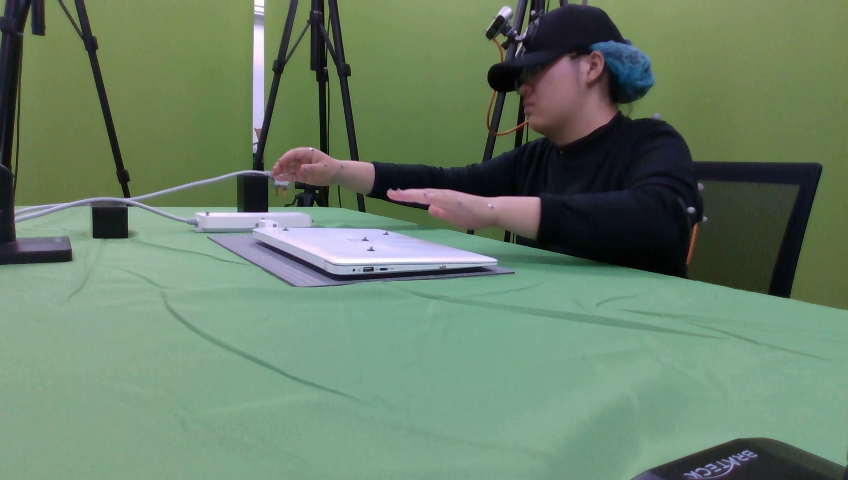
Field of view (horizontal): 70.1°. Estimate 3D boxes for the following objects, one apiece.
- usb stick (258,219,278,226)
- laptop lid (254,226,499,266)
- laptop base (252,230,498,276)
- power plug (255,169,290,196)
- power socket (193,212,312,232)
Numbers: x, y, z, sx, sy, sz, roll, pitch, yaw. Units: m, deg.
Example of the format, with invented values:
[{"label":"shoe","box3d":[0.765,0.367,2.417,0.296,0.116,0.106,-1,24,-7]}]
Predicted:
[{"label":"usb stick","box3d":[-0.255,-0.019,0.996,0.021,0.027,0.059,-2,12,-29]},{"label":"laptop lid","box3d":[-0.086,0.004,0.876,0.243,0.013,0.355,1,7,-30]},{"label":"laptop base","box3d":[-0.089,0.016,0.876,0.237,0.023,0.352,2,6,-32]},{"label":"power plug","box3d":[-0.323,-0.119,1.284,0.073,0.052,0.035,2,-14,-13]},{"label":"power socket","box3d":[-0.322,-0.037,1.152,0.228,0.032,0.072,-2,8,-34]}]
